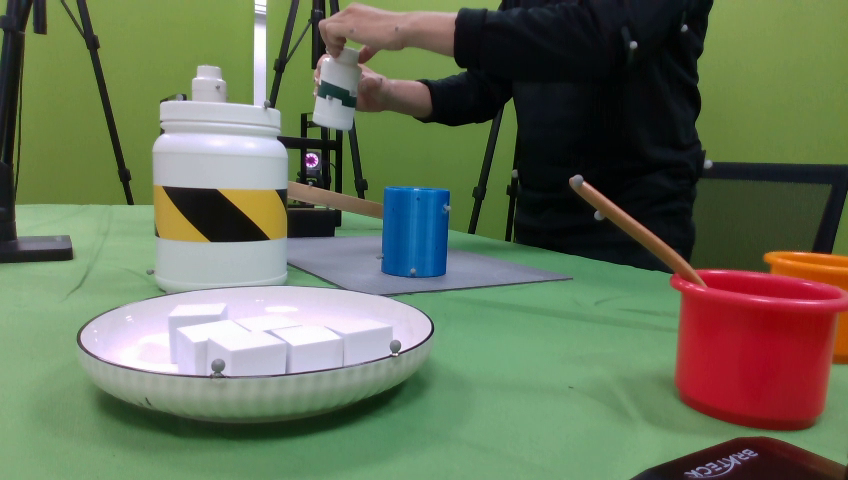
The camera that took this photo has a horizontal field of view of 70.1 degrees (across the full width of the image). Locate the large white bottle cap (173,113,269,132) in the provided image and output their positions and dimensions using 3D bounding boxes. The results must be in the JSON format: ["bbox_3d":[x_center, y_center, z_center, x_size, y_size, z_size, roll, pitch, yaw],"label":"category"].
[{"bbox_3d":[-0.254,-0.146,0.760,0.115,0.018,0.115,1,7,0],"label":"large white bottle cap"}]

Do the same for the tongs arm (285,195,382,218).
[{"bbox_3d":[-0.165,-0.074,1.216,0.389,0.027,0.028,11,-6,-24],"label":"tongs arm"}]

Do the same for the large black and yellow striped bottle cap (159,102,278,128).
[{"bbox_3d":[-0.207,-0.125,0.615,0.115,0.019,0.115,2,6,0],"label":"large black and yellow striped bottle cap"}]

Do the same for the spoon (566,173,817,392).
[{"bbox_3d":[0.161,0.024,0.370,0.193,0.021,0.042,47,17,3],"label":"spoon"}]

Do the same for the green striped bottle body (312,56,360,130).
[{"bbox_3d":[-0.135,-0.235,0.939,0.063,0.119,0.063,11,16,-3],"label":"green striped bottle body"}]

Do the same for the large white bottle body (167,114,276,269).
[{"bbox_3d":[-0.256,-0.063,0.772,0.131,0.184,0.130,2,7,0],"label":"large white bottle body"}]

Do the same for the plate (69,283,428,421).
[{"bbox_3d":[-0.102,0.066,0.381,0.208,0.039,0.207,2,7,0],"label":"plate"}]

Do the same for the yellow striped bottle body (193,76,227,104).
[{"bbox_3d":[-0.414,-0.268,1.169,0.063,0.120,0.063,2,7,0],"label":"yellow striped bottle body"}]

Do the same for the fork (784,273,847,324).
[{"bbox_3d":[0.332,0.018,0.444,0.028,0.018,0.207,-2,-35,-15],"label":"fork"}]

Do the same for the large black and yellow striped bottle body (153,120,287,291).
[{"bbox_3d":[-0.208,-0.042,0.626,0.131,0.184,0.130,2,7,0],"label":"large black and yellow striped bottle body"}]

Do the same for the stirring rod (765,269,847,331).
[{"bbox_3d":[0.352,0.020,0.484,0.176,0.006,0.014,-40,-7,13],"label":"stirring rod"}]

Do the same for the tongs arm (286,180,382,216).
[{"bbox_3d":[-0.122,-0.066,1.147,0.387,0.026,0.050,11,-3,-37],"label":"tongs arm"}]

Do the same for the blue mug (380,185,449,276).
[{"bbox_3d":[-0.019,-0.016,0.764,0.083,0.106,0.116,-1,8,-25],"label":"blue mug"}]

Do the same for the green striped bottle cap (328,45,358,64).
[{"bbox_3d":[-0.123,-0.284,0.924,0.044,0.020,0.044,14,17,-4],"label":"green striped bottle cap"}]

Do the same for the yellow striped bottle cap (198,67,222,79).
[{"bbox_3d":[-0.411,-0.320,1.163,0.044,0.018,0.044,0,5,0],"label":"yellow striped bottle cap"}]
